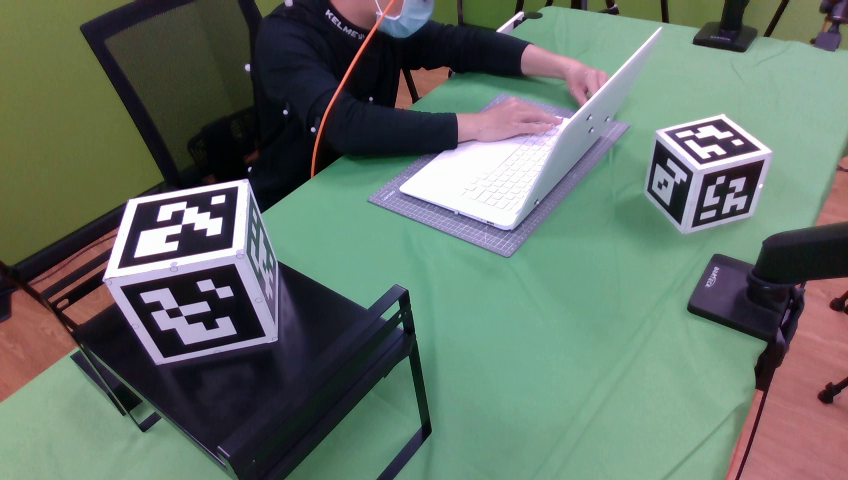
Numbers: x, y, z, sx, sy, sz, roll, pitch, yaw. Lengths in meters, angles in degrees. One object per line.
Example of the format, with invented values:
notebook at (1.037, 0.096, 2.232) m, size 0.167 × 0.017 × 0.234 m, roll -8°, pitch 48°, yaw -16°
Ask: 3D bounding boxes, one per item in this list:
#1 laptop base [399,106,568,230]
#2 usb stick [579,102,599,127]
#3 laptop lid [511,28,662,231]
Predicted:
laptop base at (0.149, -0.147, 1.123) m, size 0.233 × 0.023 × 0.355 m, roll 20°, pitch 47°, yaw 33°
usb stick at (0.324, -0.246, 1.191) m, size 0.021 × 0.027 × 0.059 m, roll 23°, pitch 56°, yaw 25°
laptop lid at (0.264, -0.179, 0.973) m, size 0.013 × 0.242 × 0.357 m, roll 36°, pitch 53°, yaw 14°
